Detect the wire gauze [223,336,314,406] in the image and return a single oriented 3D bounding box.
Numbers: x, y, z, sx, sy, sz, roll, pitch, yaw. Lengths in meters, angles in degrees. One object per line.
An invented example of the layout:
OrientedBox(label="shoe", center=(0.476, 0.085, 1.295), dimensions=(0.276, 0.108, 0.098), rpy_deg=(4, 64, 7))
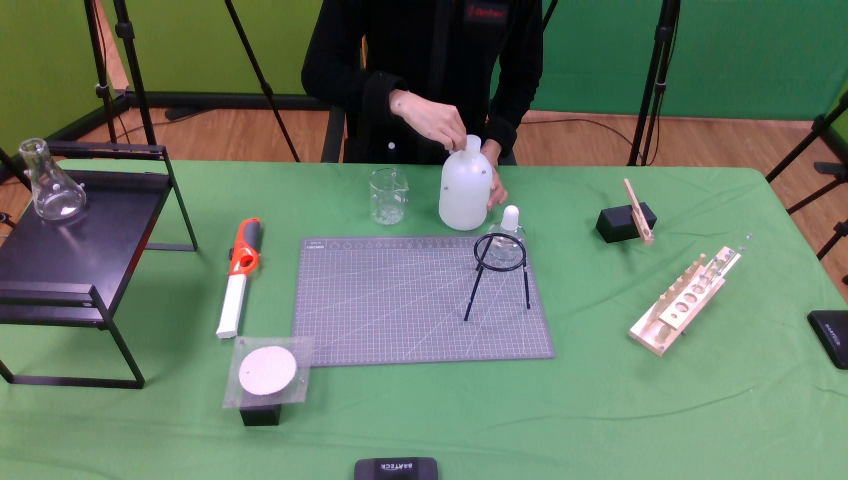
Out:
OrientedBox(label="wire gauze", center=(-0.236, 0.197, 0.931), dimensions=(0.121, 0.011, 0.124), rpy_deg=(1, 45, -4))

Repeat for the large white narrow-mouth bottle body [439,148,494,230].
OrientedBox(label="large white narrow-mouth bottle body", center=(0.085, -0.118, 1.196), dimensions=(0.102, 0.195, 0.101), rpy_deg=(2, 46, -2))

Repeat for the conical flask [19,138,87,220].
OrientedBox(label="conical flask", center=(-0.576, -0.097, 0.930), dimensions=(0.075, 0.122, 0.075), rpy_deg=(2, 46, -2))

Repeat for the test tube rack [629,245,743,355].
OrientedBox(label="test tube rack", center=(0.474, 0.095, 1.091), dimensions=(0.242, 0.085, 0.066), rpy_deg=(-34, 56, -31))

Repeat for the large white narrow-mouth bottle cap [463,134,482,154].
OrientedBox(label="large white narrow-mouth bottle cap", center=(0.091, -0.179, 1.131), dimensions=(0.038, 0.024, 0.037), rpy_deg=(2, 46, -2))

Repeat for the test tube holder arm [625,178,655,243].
OrientedBox(label="test tube holder arm", center=(0.433, -0.062, 1.220), dimensions=(0.013, 0.015, 0.177), rpy_deg=(1, 47, -4))

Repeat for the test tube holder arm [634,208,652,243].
OrientedBox(label="test tube holder arm", center=(0.428, -0.030, 1.189), dimensions=(0.010, 0.015, 0.087), rpy_deg=(2, 47, -3))

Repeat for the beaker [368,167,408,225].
OrientedBox(label="beaker", center=(-0.070, -0.085, 1.220), dimensions=(0.084, 0.101, 0.074), rpy_deg=(21, 49, 15))

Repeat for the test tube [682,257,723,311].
OrientedBox(label="test tube", center=(0.475, 0.080, 1.037), dimensions=(0.017, 0.151, 0.017), rpy_deg=(1, 51, -1))

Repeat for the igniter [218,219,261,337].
OrientedBox(label="igniter", center=(-0.336, 0.060, 1.111), dimensions=(0.057, 0.025, 0.274), rpy_deg=(-8, 46, 4))

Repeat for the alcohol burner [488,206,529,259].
OrientedBox(label="alcohol burner", center=(0.163, -0.020, 1.158), dimensions=(0.078, 0.120, 0.077), rpy_deg=(0, 47, 0))

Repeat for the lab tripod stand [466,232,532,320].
OrientedBox(label="lab tripod stand", center=(0.125, 0.059, 1.065), dimensions=(0.148, 0.132, 0.147), rpy_deg=(1, 45, 0))

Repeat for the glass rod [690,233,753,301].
OrientedBox(label="glass rod", center=(0.507, 0.053, 1.041), dimensions=(0.008, 0.200, 0.008), rpy_deg=(5, 51, -6))

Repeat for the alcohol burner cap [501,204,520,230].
OrientedBox(label="alcohol burner cap", center=(0.164, -0.046, 1.133), dimensions=(0.034, 0.048, 0.033), rpy_deg=(2, 40, -1))
